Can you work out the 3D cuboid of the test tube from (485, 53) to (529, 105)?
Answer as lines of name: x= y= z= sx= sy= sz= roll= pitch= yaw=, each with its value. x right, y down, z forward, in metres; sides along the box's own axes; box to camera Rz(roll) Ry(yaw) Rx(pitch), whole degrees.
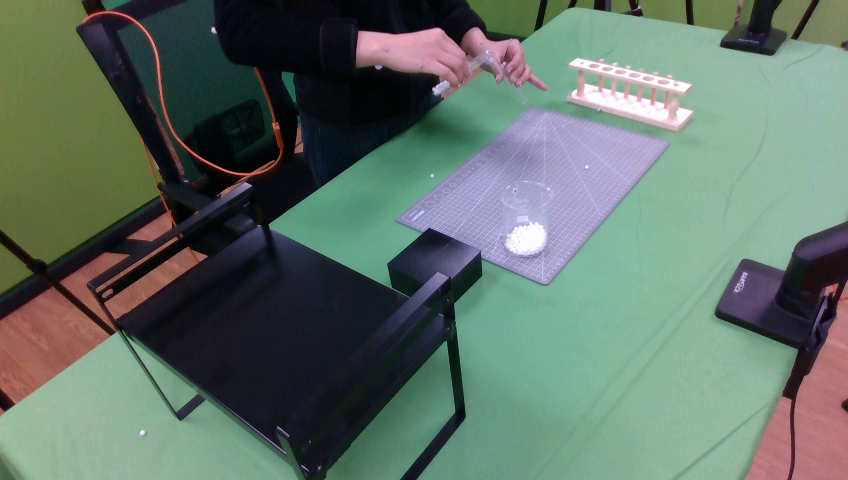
test tube: x=0.152 y=-0.289 z=1.095 sx=0.017 sy=0.151 sz=0.017 roll=-16 pitch=59 yaw=30

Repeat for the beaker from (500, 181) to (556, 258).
beaker: x=0.159 y=-0.030 z=0.922 sx=0.084 sy=0.100 sz=0.073 roll=-13 pitch=41 yaw=-8

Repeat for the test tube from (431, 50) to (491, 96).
test tube: x=0.063 y=-0.277 z=1.000 sx=0.017 sy=0.017 sz=0.151 roll=25 pitch=52 yaw=33

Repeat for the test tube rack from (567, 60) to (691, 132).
test tube rack: x=0.411 y=-0.299 z=1.217 sx=0.240 sy=0.085 sz=0.067 roll=26 pitch=51 yaw=34
